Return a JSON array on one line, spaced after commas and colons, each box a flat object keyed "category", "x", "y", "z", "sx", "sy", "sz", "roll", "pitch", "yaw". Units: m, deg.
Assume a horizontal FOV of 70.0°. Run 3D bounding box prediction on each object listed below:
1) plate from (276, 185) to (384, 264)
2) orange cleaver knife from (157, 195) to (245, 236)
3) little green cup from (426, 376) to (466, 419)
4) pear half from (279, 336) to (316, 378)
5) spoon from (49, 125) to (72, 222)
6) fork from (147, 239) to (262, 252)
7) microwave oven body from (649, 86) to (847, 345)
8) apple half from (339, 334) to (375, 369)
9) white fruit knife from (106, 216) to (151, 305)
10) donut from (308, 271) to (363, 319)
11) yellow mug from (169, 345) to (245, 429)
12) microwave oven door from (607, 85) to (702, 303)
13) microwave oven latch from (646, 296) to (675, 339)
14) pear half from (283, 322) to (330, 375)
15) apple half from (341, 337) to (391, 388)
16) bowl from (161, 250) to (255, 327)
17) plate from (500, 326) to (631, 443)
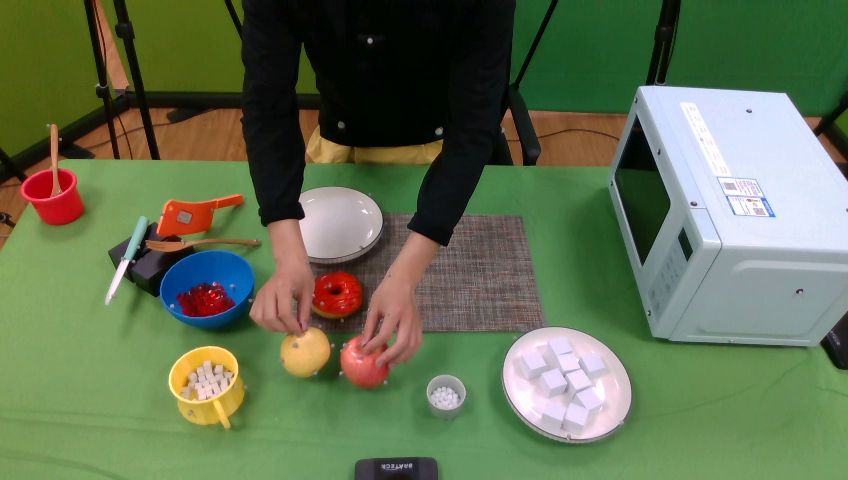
[{"category": "plate", "x": -0.184, "y": -0.027, "z": 1.195, "sx": 0.209, "sy": 0.038, "sz": 0.208, "roll": 2, "pitch": 46, "yaw": -2}, {"category": "orange cleaver knife", "x": -0.427, "y": -0.050, "z": 1.175, "sx": 0.012, "sy": 0.077, "sz": 0.211, "roll": 22, "pitch": 19, "yaw": 20}, {"category": "little green cup", "x": 0.033, "y": 0.248, "z": 0.950, "sx": 0.061, "sy": 0.039, "sz": 0.061, "roll": 2, "pitch": 46, "yaw": -2}, {"category": "pear half", "x": -0.201, "y": 0.185, "z": 0.936, "sx": 0.070, "sy": 0.088, "sz": 0.031, "roll": 24, "pitch": 47, "yaw": 15}, {"category": "spoon", "x": -0.717, "y": -0.132, "z": 1.189, "sx": 0.042, "sy": 0.021, "sz": 0.193, "roll": -3, "pitch": 90, "yaw": -7}, {"category": "fork", "x": -0.399, "y": 0.007, "z": 1.118, "sx": 0.208, "sy": 0.019, "sz": 0.028, "roll": -4, "pitch": 36, "yaw": -36}, {"category": "microwave oven body", "x": 0.568, "y": -0.053, "z": 1.118, "sx": 0.326, "sy": 0.261, "sz": 0.439, "roll": 2, "pitch": 45, "yaw": -1}, {"category": "apple half", "x": -0.109, "y": 0.179, "z": 0.966, "sx": 0.081, "sy": 0.081, "sz": 0.032, "roll": -29, "pitch": 55, "yaw": -28}, {"category": "white fruit knife", "x": -0.519, "y": 0.032, "z": 1.066, "sx": 0.027, "sy": 0.016, "sz": 0.206, "roll": -18, "pitch": 45, "yaw": 19}, {"category": "donut", "x": -0.156, "y": 0.097, "z": 1.072, "sx": 0.099, "sy": 0.048, "sz": 0.098, "roll": 2, "pitch": 44, "yaw": -2}, {"category": "yellow mug", "x": -0.323, "y": 0.230, "z": 0.922, "sx": 0.100, "sy": 0.064, "sz": 0.130, "roll": -24, "pitch": 53, "yaw": -25}, {"category": "microwave oven door", "x": 0.423, "y": -0.094, "z": 1.140, "sx": 0.039, "sy": 0.245, "sz": 0.353, "roll": 2, "pitch": 46, "yaw": -1}, {"category": "microwave oven latch", "x": 0.412, "y": 0.134, "z": 1.061, "sx": 0.030, "sy": 0.029, "sz": 0.078, "roll": 4, "pitch": 45, "yaw": 1}, {"category": "pear half", "x": -0.182, "y": 0.157, "z": 0.950, "sx": 0.076, "sy": 0.110, "sz": 0.056, "roll": 23, "pitch": 48, "yaw": 18}, {"category": "apple half", "x": -0.083, "y": 0.199, "z": 0.945, "sx": 0.081, "sy": 0.075, "sz": 0.053, "roll": -27, "pitch": 53, "yaw": -32}, {"category": "bowl", "x": -0.362, "y": 0.097, "z": 1.040, "sx": 0.151, "sy": 0.077, "sz": 0.150, "roll": 2, "pitch": 45, "yaw": -2}, {"category": "plate", "x": 0.224, "y": 0.234, "z": 0.978, "sx": 0.208, "sy": 0.039, "sz": 0.206, "roll": 2, "pitch": 46, "yaw": -2}]
